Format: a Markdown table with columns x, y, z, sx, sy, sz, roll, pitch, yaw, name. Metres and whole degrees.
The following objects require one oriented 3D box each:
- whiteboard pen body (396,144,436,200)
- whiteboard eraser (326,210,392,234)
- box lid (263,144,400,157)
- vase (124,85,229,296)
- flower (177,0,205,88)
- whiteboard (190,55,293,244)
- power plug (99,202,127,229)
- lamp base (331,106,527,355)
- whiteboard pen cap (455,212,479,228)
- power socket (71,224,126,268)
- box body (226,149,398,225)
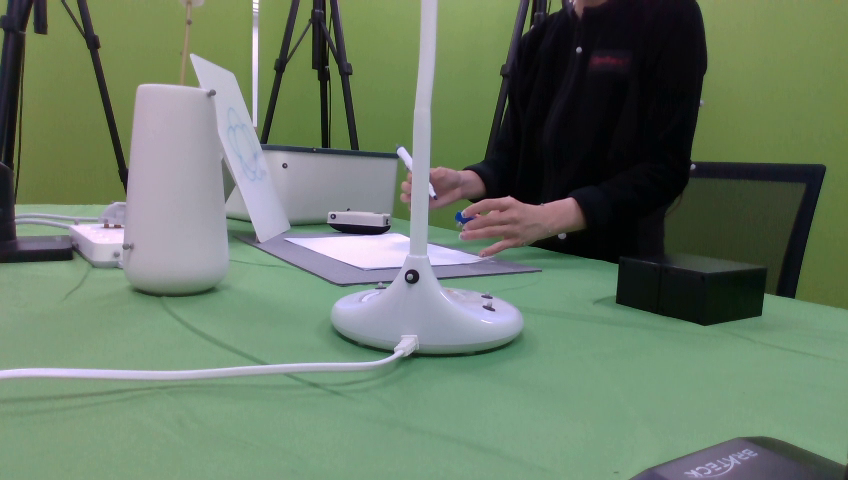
| x | y | z | sx | sy | sz | roll | pitch | yaw | name |
| --- | --- | --- | --- | --- | --- | --- | --- | --- | --- |
| -0.013 | -0.113 | 1.009 | 0.017 | 0.017 | 0.140 | -3 | 46 | -35 | whiteboard pen body |
| -0.121 | -0.033 | 1.131 | 0.112 | 0.042 | 0.056 | 4 | 8 | 13 | whiteboard eraser |
| -0.263 | -0.203 | 1.369 | 0.262 | 0.015 | 0.373 | 9 | 10 | 39 | box lid |
| -0.244 | -0.047 | 0.598 | 0.098 | 0.200 | 0.098 | 3 | 8 | 0 | vase |
| -0.243 | -0.131 | 0.609 | 0.044 | 0.361 | 0.038 | -5 | -12 | 12 | flower |
| -0.362 | -0.129 | 1.029 | 0.144 | 0.305 | 0.217 | -18 | 7 | 3 | whiteboard |
| -0.415 | -0.026 | 0.848 | 0.073 | 0.052 | 0.035 | 6 | 5 | -28 | power plug |
| 0.006 | -0.012 | 0.478 | 0.161 | 0.180 | 0.179 | 2 | 10 | 2 | lamp base |
| 0.063 | -0.030 | 0.888 | 0.033 | 0.018 | 0.018 | 21 | 16 | 30 | whiteboard pen cap |
| -0.409 | 0.004 | 0.793 | 0.072 | 0.032 | 0.225 | -2 | 8 | -37 | power socket |
| -0.265 | -0.129 | 1.380 | 0.253 | 0.160 | 0.366 | 8 | 9 | 39 | box body |
